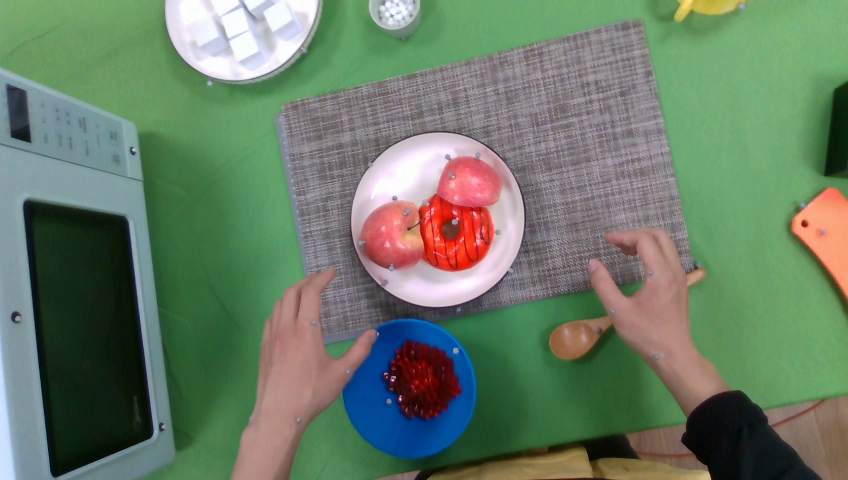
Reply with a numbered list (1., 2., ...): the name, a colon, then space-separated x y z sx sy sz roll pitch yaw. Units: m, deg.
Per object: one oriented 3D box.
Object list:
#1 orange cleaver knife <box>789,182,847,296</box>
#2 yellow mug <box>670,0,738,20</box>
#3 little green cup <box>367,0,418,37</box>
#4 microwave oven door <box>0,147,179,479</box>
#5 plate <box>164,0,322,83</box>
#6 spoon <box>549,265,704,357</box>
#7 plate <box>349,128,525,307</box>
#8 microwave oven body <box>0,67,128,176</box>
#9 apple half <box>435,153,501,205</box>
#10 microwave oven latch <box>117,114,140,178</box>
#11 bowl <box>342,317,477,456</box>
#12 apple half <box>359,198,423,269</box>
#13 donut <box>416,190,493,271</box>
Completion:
1. orange cleaver knife: 0.473 0.039 0.651 0.077 0.012 0.210 -27 82 2
2. yellow mug: 0.315 -0.302 0.669 0.099 0.064 0.131 36 94 9
3. little green cup: -0.036 -0.280 0.739 0.061 0.039 0.061 -1 87 10
4. microwave oven door: -0.368 0.093 0.653 0.039 0.244 0.355 -10 85 9
5. plate: -0.226 -0.298 0.770 0.207 0.039 0.207 -1 87 9
6. spoon: 0.231 0.078 0.687 0.194 0.022 0.041 -29 68 7
7. plate: 0.015 -0.026 0.715 0.209 0.038 0.209 0 88 10
8. microwave oven body: -0.516 0.076 0.683 0.326 0.261 0.440 -10 86 8
9. apple half: 0.053 -0.075 0.685 0.081 0.033 0.080 2 48 -2
10. microwave oven latch: -0.383 -0.117 0.768 0.030 0.029 0.079 -8 87 8
11. bowl: -0.011 0.161 0.695 0.151 0.077 0.151 0 87 9
12. apple half: -0.044 -0.006 0.692 0.074 0.054 0.080 -13 82 50
13. donut: 0.030 -0.013 0.701 0.099 0.048 0.099 0 89 9
